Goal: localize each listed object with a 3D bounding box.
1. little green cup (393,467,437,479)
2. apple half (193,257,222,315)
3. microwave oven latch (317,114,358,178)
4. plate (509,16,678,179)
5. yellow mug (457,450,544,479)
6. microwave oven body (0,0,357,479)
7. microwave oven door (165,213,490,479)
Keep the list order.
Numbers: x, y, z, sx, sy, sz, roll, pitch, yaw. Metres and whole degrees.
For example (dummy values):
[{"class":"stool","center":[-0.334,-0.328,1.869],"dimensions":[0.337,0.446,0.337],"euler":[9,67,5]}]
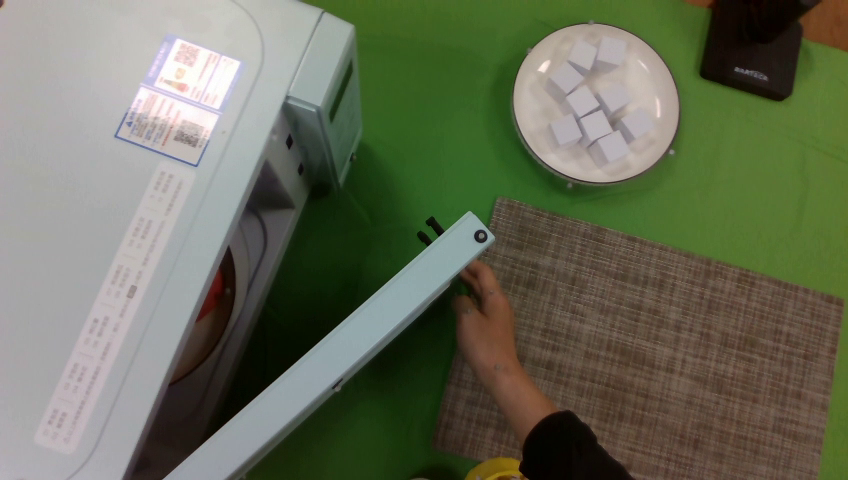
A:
[{"class":"little green cup","center":[-0.010,0.276,0.654],"dimensions":[0.061,0.039,0.061],"euler":[1,79,-3]},{"class":"apple half","center":[-0.246,0.038,0.606],"dimensions":[0.081,0.033,0.081],"euler":[0,80,-2]},{"class":"microwave oven latch","center":[-0.099,-0.114,0.695],"dimensions":[0.030,0.029,0.079],"euler":[20,80,-2]},{"class":"plate","center":[0.205,-0.172,0.748],"dimensions":[0.208,0.039,0.207],"euler":[1,81,-5]},{"class":"yellow mug","center":[0.077,0.296,0.645],"dimensions":[0.100,0.064,0.130],"euler":[28,82,0]},{"class":"microwave oven body","center":[-0.290,-0.018,0.564],"dimensions":[0.326,0.260,0.440],"euler":[20,80,-2]},{"class":"microwave oven door","center":[-0.096,0.118,0.553],"dimensions":[0.355,0.244,0.039],"euler":[-41,85,-10]}]
